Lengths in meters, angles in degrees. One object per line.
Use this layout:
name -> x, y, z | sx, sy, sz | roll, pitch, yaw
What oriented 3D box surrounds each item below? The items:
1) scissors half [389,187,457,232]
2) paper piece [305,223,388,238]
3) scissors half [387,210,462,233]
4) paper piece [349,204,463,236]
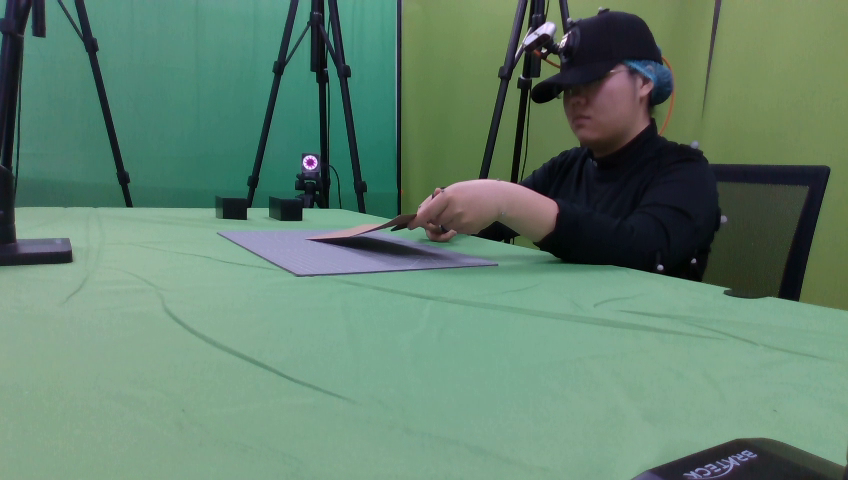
scissors half -> -0.001, -0.052, 1.059 | 0.013, 0.040, 0.176 | -12, 17, 48
paper piece -> -0.117, -0.019, 1.038 | 0.136, 0.004, 0.134 | -15, 8, -42
scissors half -> 0.004, -0.031, 1.061 | 0.176, 0.040, 0.012 | -3, -1, -42
paper piece -> -0.029, -0.032, 0.940 | 0.136, 0.008, 0.137 | -21, 6, -41
